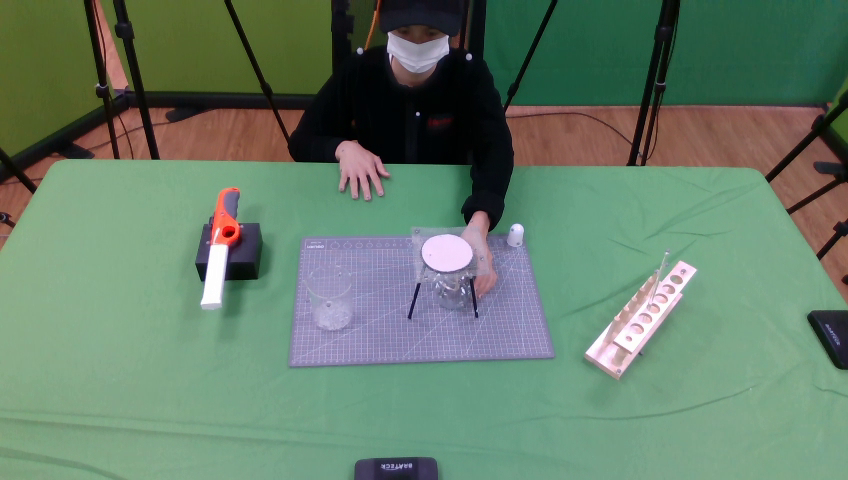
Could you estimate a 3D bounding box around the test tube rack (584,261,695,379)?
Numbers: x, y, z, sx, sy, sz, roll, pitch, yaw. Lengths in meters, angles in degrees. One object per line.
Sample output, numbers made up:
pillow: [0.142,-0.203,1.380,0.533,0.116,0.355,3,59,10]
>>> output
test tube rack: [0.380,0.127,1.062,0.066,0.085,0.242,34,53,26]

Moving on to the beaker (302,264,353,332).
beaker: [-0.162,0.101,1.030,0.084,0.101,0.073,4,46,0]

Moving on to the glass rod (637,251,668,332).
glass rod: [0.378,0.090,1.005,0.008,0.201,0.008,-1,44,1]

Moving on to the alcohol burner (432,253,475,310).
alcohol burner: [0.053,0.068,1.070,0.078,0.120,0.077,1,46,-1]

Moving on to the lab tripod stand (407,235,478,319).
lab tripod stand: [0.032,0.065,1.057,0.148,0.132,0.147,1,45,-1]

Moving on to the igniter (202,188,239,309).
igniter: [-0.366,0.006,1.095,0.057,0.025,0.274,-2,49,-7]

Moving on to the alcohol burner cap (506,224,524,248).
alcohol burner cap: [0.183,-0.010,1.206,0.034,0.048,0.033,1,45,-1]

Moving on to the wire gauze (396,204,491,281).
wire gauze: [0.032,0.004,0.999,0.125,0.011,0.120,-22,54,-14]
